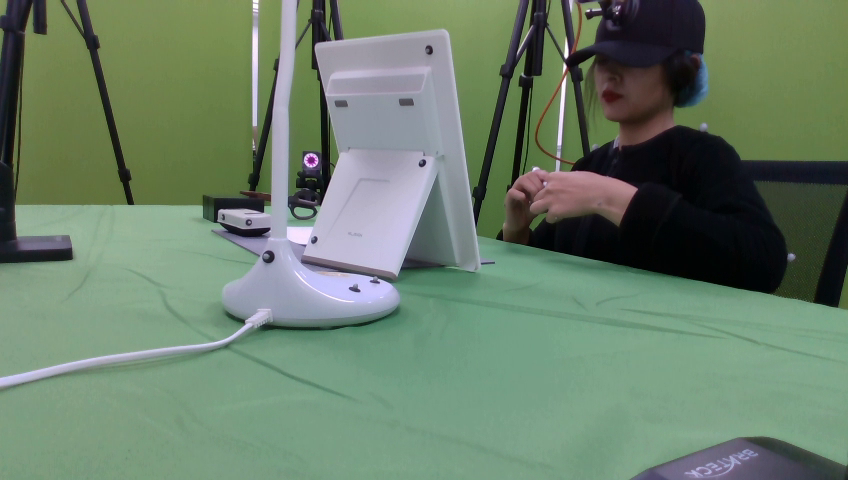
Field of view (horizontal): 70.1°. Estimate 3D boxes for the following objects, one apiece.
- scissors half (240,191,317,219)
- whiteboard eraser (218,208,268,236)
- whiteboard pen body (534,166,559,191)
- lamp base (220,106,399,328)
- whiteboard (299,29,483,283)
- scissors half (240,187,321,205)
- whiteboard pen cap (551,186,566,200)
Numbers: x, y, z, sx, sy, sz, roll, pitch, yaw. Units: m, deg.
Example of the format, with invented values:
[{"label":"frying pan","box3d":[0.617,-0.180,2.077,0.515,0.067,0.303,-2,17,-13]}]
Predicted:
[{"label":"scissors half","box3d":[-0.317,-0.079,1.326,0.176,0.040,0.013,18,15,-31]},{"label":"whiteboard eraser","box3d":[-0.309,-0.031,1.044,0.056,0.042,0.112,-2,9,-40]},{"label":"whiteboard pen body","box3d":[0.215,-0.102,1.052,0.017,0.017,0.140,2,24,-7]},{"label":"lamp base","box3d":[-0.101,-0.023,0.531,0.160,0.180,0.179,4,10,10]},{"label":"whiteboard","box3d":[-0.074,-0.082,0.742,0.216,0.305,0.144,9,29,38]},{"label":"scissors half","box3d":[-0.311,-0.097,1.319,0.176,0.040,0.012,-1,30,-25]},{"label":"whiteboard pen cap","box3d":[0.221,-0.078,0.998,0.018,0.018,0.033,1,18,-12]}]
